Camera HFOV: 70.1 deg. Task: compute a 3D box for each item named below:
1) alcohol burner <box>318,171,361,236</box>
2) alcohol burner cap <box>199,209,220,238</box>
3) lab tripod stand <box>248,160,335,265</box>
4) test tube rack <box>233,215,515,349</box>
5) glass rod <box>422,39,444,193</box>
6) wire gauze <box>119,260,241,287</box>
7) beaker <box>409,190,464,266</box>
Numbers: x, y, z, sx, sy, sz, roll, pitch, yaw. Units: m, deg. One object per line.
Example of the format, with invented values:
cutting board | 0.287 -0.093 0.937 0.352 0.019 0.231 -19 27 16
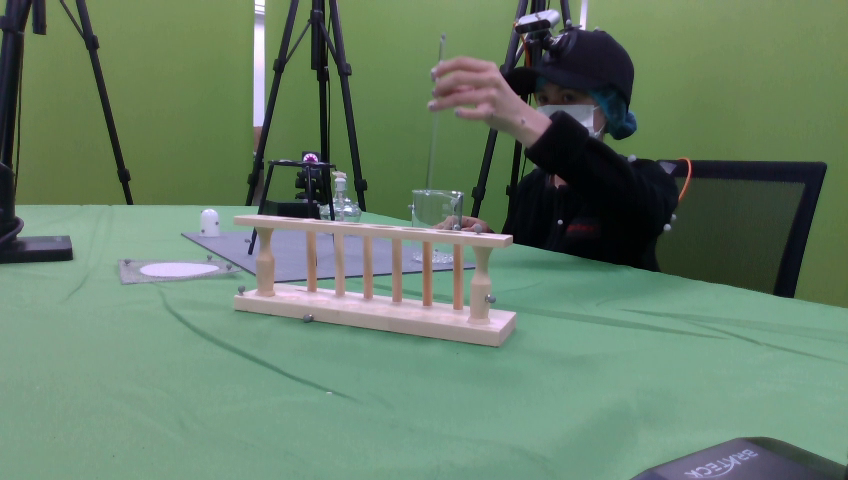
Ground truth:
alcohol burner | -0.155 -0.067 1.104 0.078 0.119 0.078 1 8 0
alcohol burner cap | -0.356 -0.027 1.002 0.034 0.048 0.034 2 7 0
lab tripod stand | -0.165 -0.041 0.817 0.148 0.131 0.148 5 7 0
test tube rack | -0.045 0.029 0.526 0.241 0.085 0.067 5 8 19
glass rod | 0.012 -0.157 0.784 0.008 0.199 0.008 6 19 -2
wire gauze | -0.288 0.034 0.706 0.122 0.011 0.124 -3 10 -29
beaker | 0.018 -0.017 0.840 0.074 0.100 0.083 -3 10 -35
